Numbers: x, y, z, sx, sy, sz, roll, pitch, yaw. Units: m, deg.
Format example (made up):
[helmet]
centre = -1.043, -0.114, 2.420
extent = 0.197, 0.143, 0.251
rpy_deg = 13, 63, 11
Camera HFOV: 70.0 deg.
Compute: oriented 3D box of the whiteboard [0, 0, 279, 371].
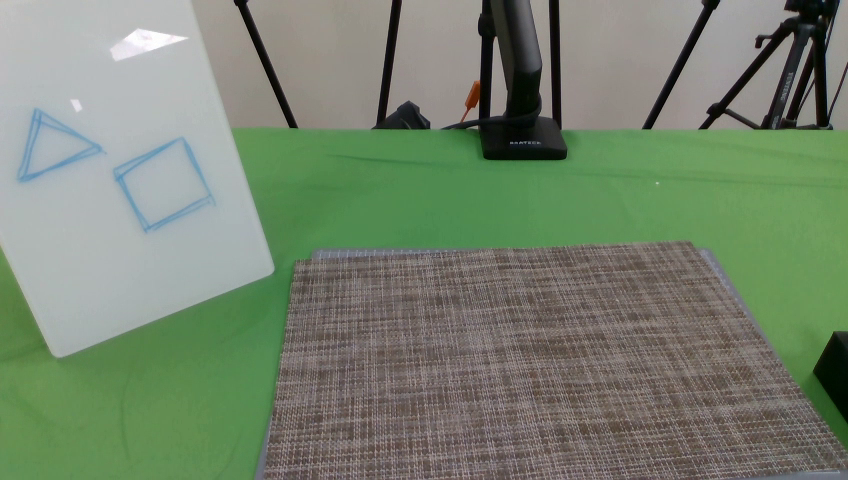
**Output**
[whiteboard]
centre = -0.309, -0.071, 0.601
extent = 0.217, 0.307, 0.142
rpy_deg = -23, 22, -28
